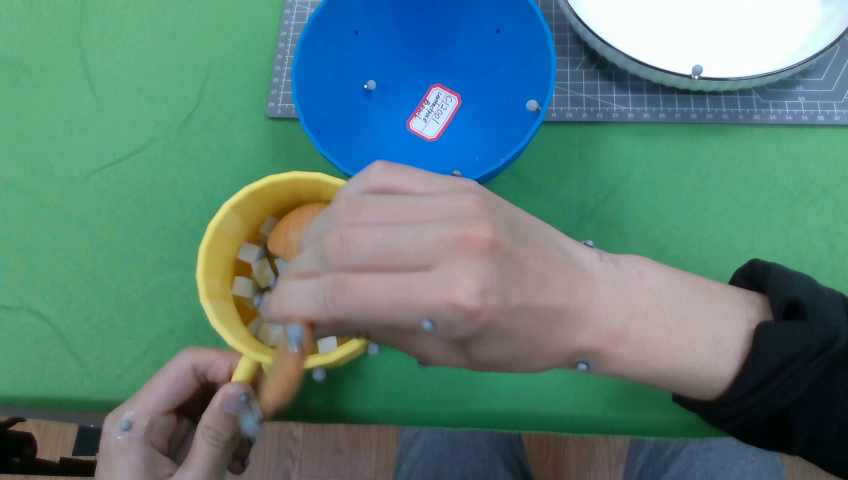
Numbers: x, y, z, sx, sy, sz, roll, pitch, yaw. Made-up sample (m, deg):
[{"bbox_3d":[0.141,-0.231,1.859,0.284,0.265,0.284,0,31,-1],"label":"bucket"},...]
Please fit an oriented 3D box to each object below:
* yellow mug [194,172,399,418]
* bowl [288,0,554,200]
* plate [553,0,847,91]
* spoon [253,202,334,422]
[{"bbox_3d":[-0.071,0.034,0.326,0.100,0.064,0.130,25,78,1],"label":"yellow mug"},{"bbox_3d":[0.001,-0.086,0.375,0.151,0.077,0.150,-1,74,5],"label":"bowl"},{"bbox_3d":[0.185,-0.188,0.416,0.209,0.038,0.207,-1,70,4],"label":"plate"},{"bbox_3d":[-0.054,0.018,0.260,0.041,0.192,0.022,-31,114,3],"label":"spoon"}]
